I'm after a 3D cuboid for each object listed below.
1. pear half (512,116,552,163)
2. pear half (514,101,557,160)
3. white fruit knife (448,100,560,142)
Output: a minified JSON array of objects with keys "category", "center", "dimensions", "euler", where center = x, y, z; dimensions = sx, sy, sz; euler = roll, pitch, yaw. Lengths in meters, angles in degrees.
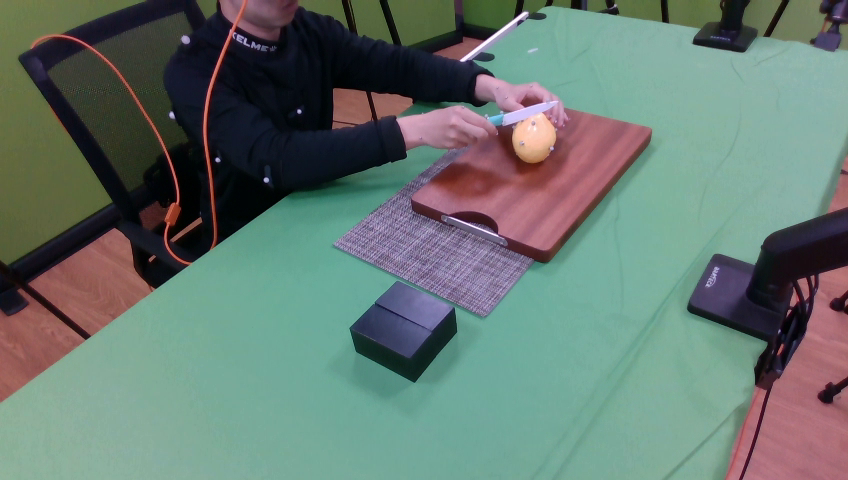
[{"category":"pear half","center":[0.185,-0.167,1.042],"dimensions":[0.070,0.088,0.031],"euler":[9,43,15]},{"category":"pear half","center":[0.197,-0.198,1.059],"dimensions":[0.076,0.110,0.056],"euler":[11,41,14]},{"category":"white fruit knife","center":[0.133,-0.206,1.037],"dimensions":[0.206,0.027,0.016],"euler":[-14,48,22]}]
